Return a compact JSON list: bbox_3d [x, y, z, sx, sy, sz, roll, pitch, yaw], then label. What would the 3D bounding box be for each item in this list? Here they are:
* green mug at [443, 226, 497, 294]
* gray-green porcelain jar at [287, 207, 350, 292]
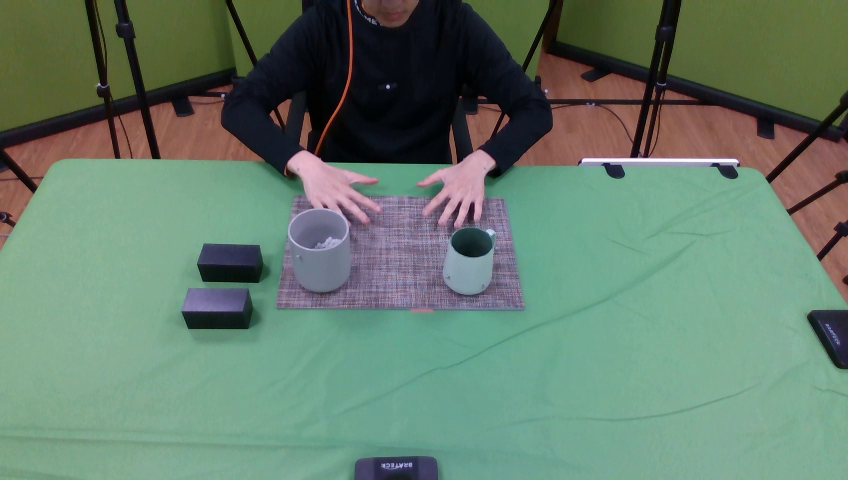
[{"bbox_3d":[0.093,0.028,1.114,0.092,0.105,0.125,31,52,23],"label":"green mug"},{"bbox_3d":[-0.185,0.022,1.084,0.106,0.127,0.105,2,47,-2],"label":"gray-green porcelain jar"}]
